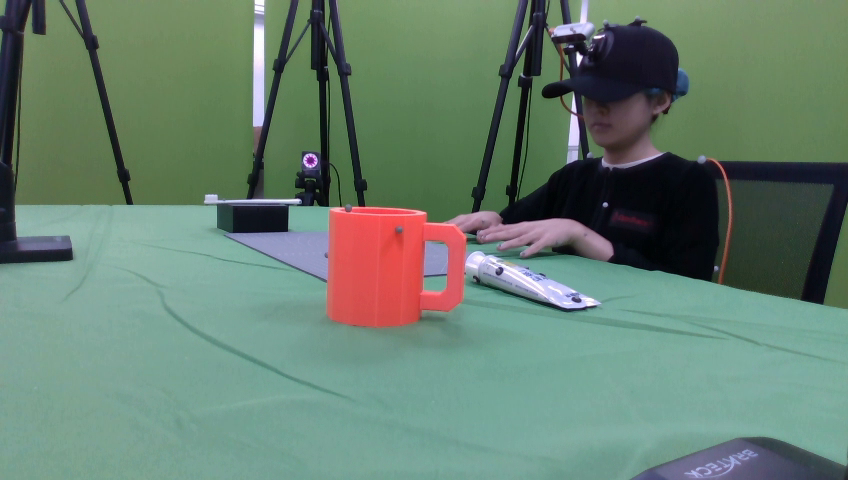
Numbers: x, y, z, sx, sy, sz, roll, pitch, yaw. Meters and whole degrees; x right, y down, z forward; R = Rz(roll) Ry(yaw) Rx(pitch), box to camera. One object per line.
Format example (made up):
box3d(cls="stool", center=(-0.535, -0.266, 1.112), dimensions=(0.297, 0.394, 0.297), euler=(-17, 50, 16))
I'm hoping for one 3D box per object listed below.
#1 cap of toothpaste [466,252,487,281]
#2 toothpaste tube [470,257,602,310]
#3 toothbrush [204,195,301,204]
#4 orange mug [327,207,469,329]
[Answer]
box3d(cls="cap of toothpaste", center=(0.065, 0.032, 0.720), dimensions=(0.037, 0.037, 0.011), euler=(-3, 13, -39))
box3d(cls="toothpaste tube", center=(0.110, 0.049, 0.659), dimensions=(0.055, 0.034, 0.164), euler=(-8, 16, -37))
box3d(cls="toothbrush", center=(-0.314, -0.074, 1.120), dimensions=(0.183, 0.016, 0.014), euler=(-2, 4, -36))
box3d(cls="orange mug", center=(-0.024, 0.021, 0.535), dimensions=(0.126, 0.100, 0.083), euler=(-1, 6, 8))
